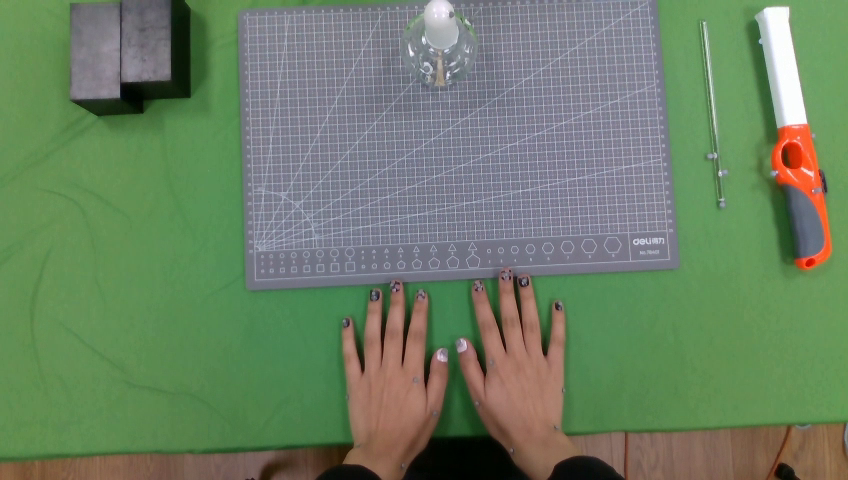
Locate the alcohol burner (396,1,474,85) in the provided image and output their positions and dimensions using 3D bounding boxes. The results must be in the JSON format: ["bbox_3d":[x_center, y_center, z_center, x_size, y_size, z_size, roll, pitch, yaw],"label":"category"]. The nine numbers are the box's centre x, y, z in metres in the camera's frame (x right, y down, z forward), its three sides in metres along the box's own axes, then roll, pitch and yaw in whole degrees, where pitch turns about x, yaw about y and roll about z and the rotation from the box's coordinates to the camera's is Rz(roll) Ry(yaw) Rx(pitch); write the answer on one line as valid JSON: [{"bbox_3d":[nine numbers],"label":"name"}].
[{"bbox_3d":[0.011,-0.199,0.592,0.078,0.119,0.077,0,83,-1],"label":"alcohol burner"}]

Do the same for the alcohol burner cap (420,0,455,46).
[{"bbox_3d":[0.011,-0.204,0.556,0.034,0.048,0.033,-1,80,5],"label":"alcohol burner cap"}]

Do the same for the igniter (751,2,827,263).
[{"bbox_3d":[0.383,-0.114,0.635,0.057,0.025,0.276,-6,86,-11],"label":"igniter"}]

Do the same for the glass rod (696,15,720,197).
[{"bbox_3d":[0.304,-0.144,0.647,0.008,0.008,0.199,-3,85,-1],"label":"glass rod"}]
